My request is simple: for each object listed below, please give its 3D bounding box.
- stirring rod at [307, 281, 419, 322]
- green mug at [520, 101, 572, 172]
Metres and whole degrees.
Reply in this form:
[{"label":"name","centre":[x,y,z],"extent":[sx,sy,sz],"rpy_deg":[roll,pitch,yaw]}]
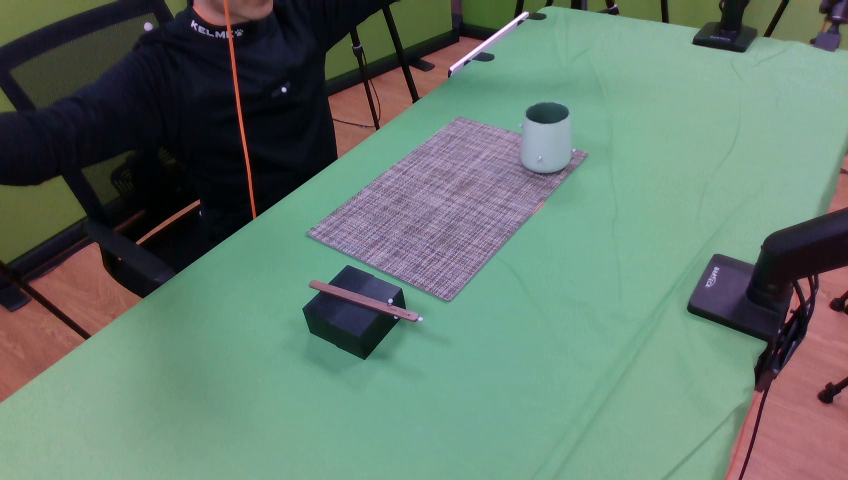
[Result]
[{"label":"stirring rod","centre":[-0.086,0.082,0.822],"extent":[0.175,0.006,0.014],"rpy_deg":[15,47,23]},{"label":"green mug","centre":[0.220,-0.194,1.093],"extent":[0.092,0.105,0.125],"rpy_deg":[-2,41,7]}]
